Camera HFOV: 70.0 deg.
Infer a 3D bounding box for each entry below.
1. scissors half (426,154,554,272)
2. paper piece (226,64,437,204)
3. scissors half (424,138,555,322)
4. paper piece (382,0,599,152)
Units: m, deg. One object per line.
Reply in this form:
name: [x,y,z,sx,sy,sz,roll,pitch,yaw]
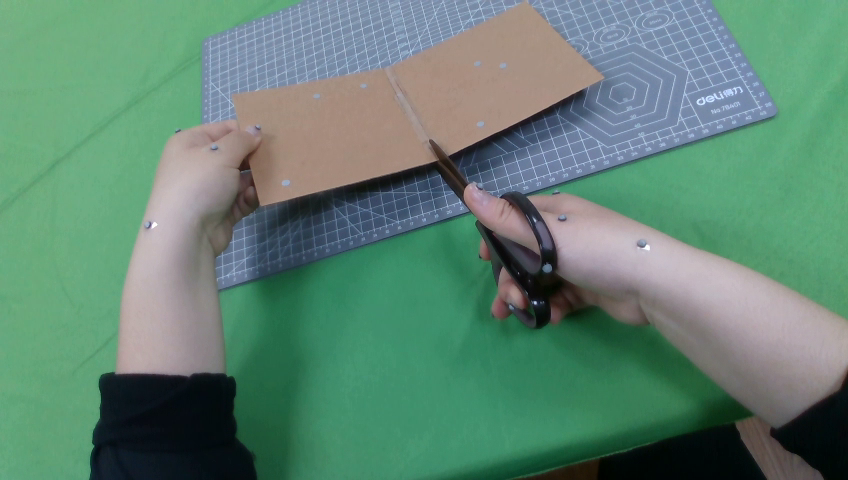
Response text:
scissors half: [0.034,-0.030,0.391,0.013,0.040,0.173,-20,30,-14]
paper piece: [-0.076,-0.090,0.473,0.138,0.009,0.134,-16,47,-12]
scissors half: [0.037,-0.015,0.407,0.013,0.040,0.173,-23,57,-11]
paper piece: [0.046,-0.139,0.487,0.135,0.004,0.134,-26,50,0]
